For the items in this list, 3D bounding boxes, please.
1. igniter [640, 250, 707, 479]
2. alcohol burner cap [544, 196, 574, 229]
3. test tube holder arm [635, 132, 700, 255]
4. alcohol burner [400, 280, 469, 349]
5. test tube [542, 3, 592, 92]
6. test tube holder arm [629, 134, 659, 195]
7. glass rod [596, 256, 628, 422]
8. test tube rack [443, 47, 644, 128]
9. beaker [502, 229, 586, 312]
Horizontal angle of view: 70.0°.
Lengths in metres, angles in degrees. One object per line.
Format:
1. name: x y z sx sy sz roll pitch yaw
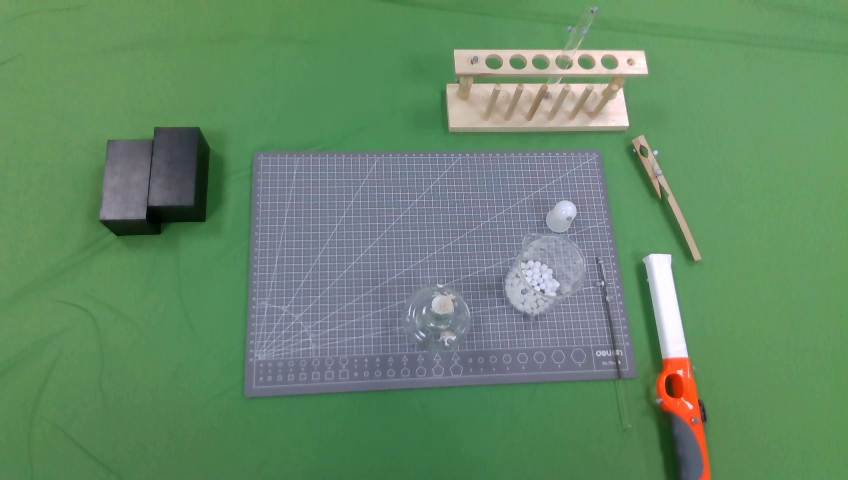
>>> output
1. igniter: 0.292 0.145 0.714 0.057 0.025 0.274 2 71 -15
2. alcohol burner cap: 0.170 -0.037 0.750 0.034 0.048 0.033 2 72 -4
3. test tube holder arm: 0.315 -0.062 0.787 0.013 0.015 0.177 -28 75 20
4. alcohol burner: 0.013 0.077 0.659 0.078 0.120 0.077 2 69 -4
5. test tube: 0.171 -0.230 0.742 0.017 0.151 0.017 3 68 -7
6. test tube holder arm: 0.294 -0.100 0.800 0.010 0.015 0.087 -27 75 21
7. glass rod: 0.223 0.114 0.724 0.008 0.008 0.198 -2 72 -7
8. test tube rack: 0.151 -0.195 0.781 0.243 0.085 0.066 -2 72 -6
9. beaker: 0.130 0.037 0.692 0.074 0.101 0.083 -34 77 -15
